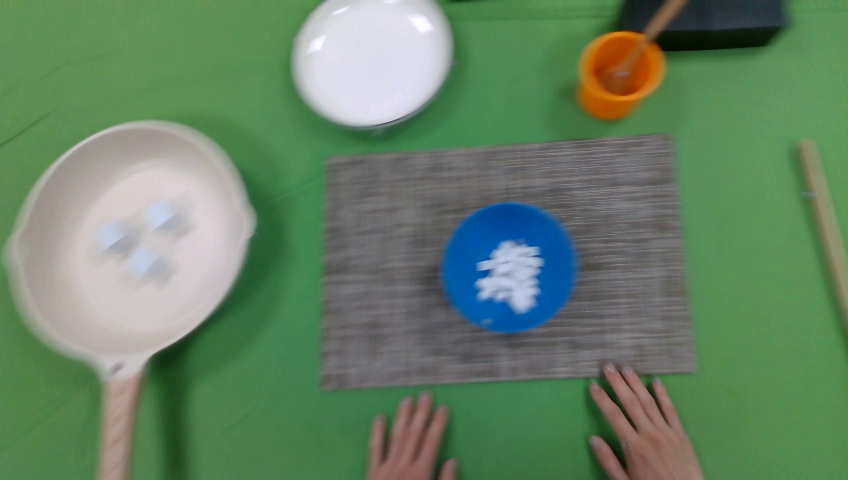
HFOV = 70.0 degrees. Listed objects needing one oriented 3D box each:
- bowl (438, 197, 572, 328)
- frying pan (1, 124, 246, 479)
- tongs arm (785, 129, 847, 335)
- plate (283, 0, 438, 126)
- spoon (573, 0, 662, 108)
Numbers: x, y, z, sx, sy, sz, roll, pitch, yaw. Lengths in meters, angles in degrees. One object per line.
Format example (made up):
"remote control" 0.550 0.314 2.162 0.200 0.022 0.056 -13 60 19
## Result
"bowl" 0.093 0.032 0.718 0.151 0.077 0.150 -1 78 4
"frying pan" -0.356 0.098 0.728 0.307 0.103 0.484 -6 70 4
"tongs arm" 0.497 0.048 0.714 0.028 0.028 0.385 -12 78 0
"plate" -0.083 -0.247 0.813 0.207 0.039 0.206 -1 78 4
"spoon" 0.245 -0.242 0.731 0.041 0.194 0.021 46 41 15
